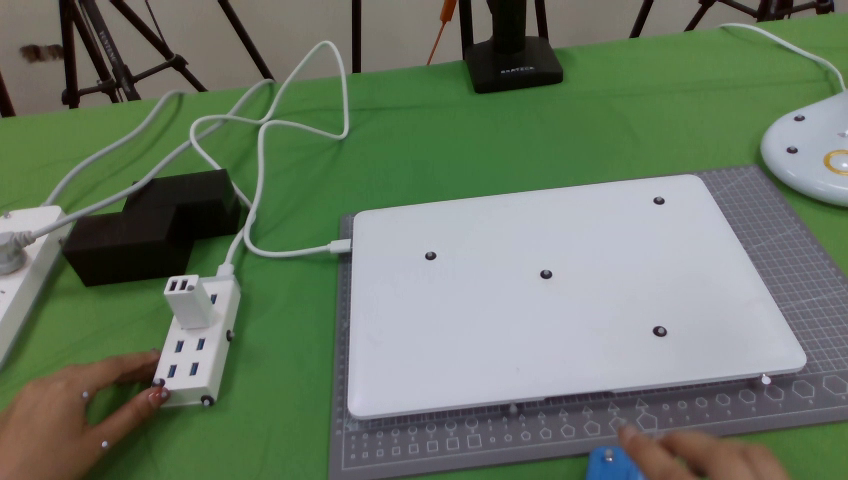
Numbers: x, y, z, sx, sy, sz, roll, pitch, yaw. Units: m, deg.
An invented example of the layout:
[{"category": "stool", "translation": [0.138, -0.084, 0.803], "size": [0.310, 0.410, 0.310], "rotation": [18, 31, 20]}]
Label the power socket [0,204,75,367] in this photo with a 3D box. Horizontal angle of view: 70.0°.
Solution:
[{"category": "power socket", "translation": [-0.417, 0.042, 0.598], "size": [0.072, 0.033, 0.224], "rotation": [-5, 43, 0]}]

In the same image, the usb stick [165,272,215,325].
[{"category": "usb stick", "translation": [-0.197, 0.055, 0.519], "size": [0.027, 0.060, 0.021], "rotation": [-8, 43, 1]}]

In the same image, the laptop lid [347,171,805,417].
[{"category": "laptop lid", "translation": [0.108, 0.032, 0.534], "size": [0.357, 0.013, 0.239], "rotation": [-5, 46, 2]}]

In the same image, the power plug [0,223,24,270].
[{"category": "power plug", "translation": [-0.418, 0.005, 0.606], "size": [0.035, 0.053, 0.072], "rotation": [-11, 36, -18]}]

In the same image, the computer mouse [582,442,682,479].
[{"category": "computer mouse", "translation": [0.127, 0.180, 0.382], "size": [0.062, 0.041, 0.116], "rotation": [10, 42, 20]}]

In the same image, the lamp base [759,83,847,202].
[{"category": "lamp base", "translation": [0.436, -0.156, 0.587], "size": [0.159, 0.182, 0.178], "rotation": [16, 46, 22]}]

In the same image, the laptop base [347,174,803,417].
[{"category": "laptop base", "translation": [0.109, 0.038, 0.544], "size": [0.354, 0.023, 0.233], "rotation": [-6, 47, 1]}]

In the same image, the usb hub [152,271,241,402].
[{"category": "usb hub", "translation": [-0.197, 0.082, 0.534], "size": [0.049, 0.025, 0.124], "rotation": [-6, 43, 2]}]
